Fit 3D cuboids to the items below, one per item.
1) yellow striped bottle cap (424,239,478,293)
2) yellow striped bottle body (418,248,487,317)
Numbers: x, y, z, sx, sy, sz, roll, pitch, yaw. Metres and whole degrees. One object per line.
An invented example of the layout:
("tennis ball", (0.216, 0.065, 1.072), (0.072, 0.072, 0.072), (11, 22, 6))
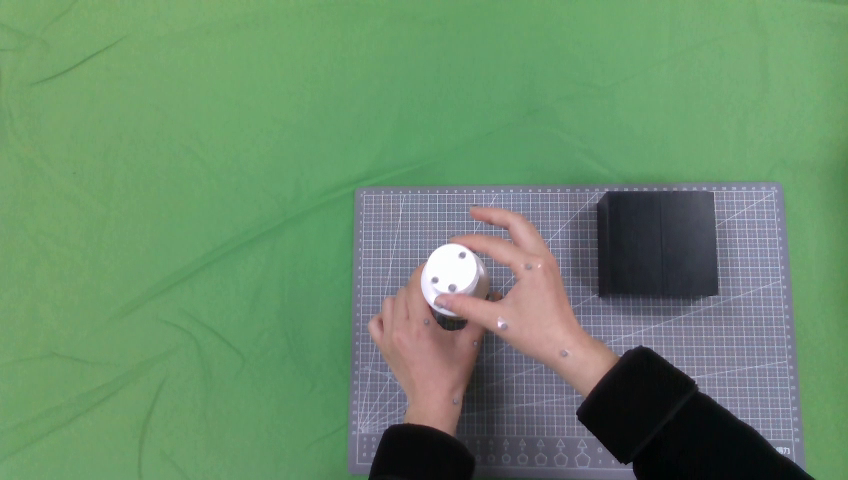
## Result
("yellow striped bottle cap", (0.022, 0.022, 0.510), (0.044, 0.019, 0.044), (-3, 75, 11))
("yellow striped bottle body", (0.028, 0.040, 0.578), (0.063, 0.121, 0.062), (-1, 80, 4))
